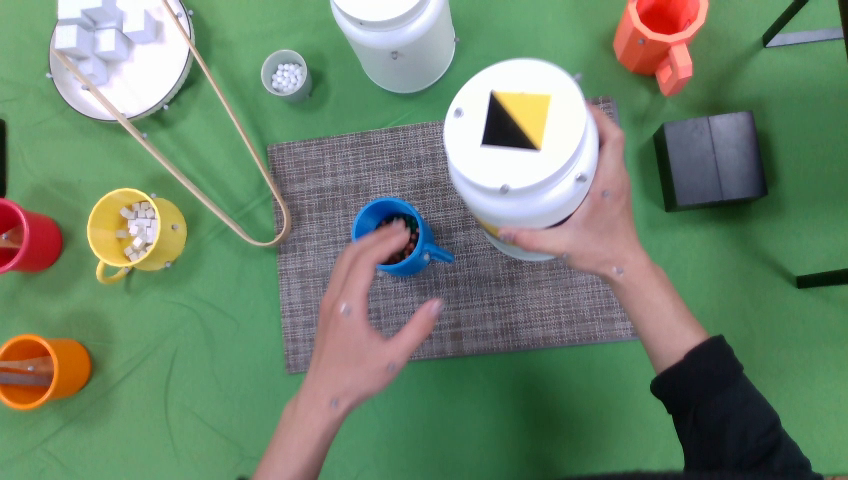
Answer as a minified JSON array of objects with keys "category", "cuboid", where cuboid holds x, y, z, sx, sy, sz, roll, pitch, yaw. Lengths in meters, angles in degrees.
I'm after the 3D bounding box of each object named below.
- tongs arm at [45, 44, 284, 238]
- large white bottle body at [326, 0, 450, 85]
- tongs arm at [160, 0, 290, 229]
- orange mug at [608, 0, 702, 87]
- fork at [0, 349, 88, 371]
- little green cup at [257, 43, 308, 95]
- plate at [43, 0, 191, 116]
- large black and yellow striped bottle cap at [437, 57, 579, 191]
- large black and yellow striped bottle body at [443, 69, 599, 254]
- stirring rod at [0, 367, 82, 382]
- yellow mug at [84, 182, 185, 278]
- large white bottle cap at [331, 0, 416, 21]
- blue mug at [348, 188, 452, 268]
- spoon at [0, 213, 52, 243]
[{"category":"tongs arm","cuboid":[-0.336,-0.133,0.786,0.384,0.026,0.051,45,87,2]},{"category":"large white bottle body","cuboid":[-0.040,-0.276,0.710,0.130,0.185,0.130,-1,84,7]},{"category":"tongs arm","cuboid":[-0.271,-0.187,0.787,0.028,0.028,0.387,-31,89,-6]},{"category":"orange mug","cuboid":[0.276,-0.250,0.714,0.083,0.101,0.125,-17,78,5]},{"category":"fork","cuboid":[-0.531,0.146,0.745,0.209,0.018,0.028,11,83,-36]},{"category":"little green cup","cuboid":[-0.184,-0.222,0.796,0.061,0.039,0.061,-1,85,7]},{"category":"plate","cuboid":[-0.413,-0.268,0.828,0.207,0.039,0.207,-1,85,7]},{"category":"large black and yellow striped bottle cap","cuboid":[0.067,-0.096,0.492,0.115,0.019,0.114,-5,73,15]},{"category":"large black and yellow striped bottle body","cuboid":[0.094,-0.071,0.568,0.130,0.185,0.130,-5,72,17]},{"category":"stirring rod","cuboid":[-0.521,0.163,0.745,0.006,0.177,0.014,-23,61,47]},{"category":"yellow mug","cuboid":[-0.382,-0.007,0.785,0.099,0.064,0.131,32,90,8]},{"category":"large white bottle cap","cuboid":[-0.052,-0.284,0.627,0.114,0.018,0.114,-1,85,7]},{"category":"blue mug","cuboid":[-0.022,-0.006,0.719,0.116,0.106,0.082,19,87,8]},{"category":"spoon","cuboid":[-0.579,0.006,0.768,0.194,0.022,0.041,-24,77,-41]}]
